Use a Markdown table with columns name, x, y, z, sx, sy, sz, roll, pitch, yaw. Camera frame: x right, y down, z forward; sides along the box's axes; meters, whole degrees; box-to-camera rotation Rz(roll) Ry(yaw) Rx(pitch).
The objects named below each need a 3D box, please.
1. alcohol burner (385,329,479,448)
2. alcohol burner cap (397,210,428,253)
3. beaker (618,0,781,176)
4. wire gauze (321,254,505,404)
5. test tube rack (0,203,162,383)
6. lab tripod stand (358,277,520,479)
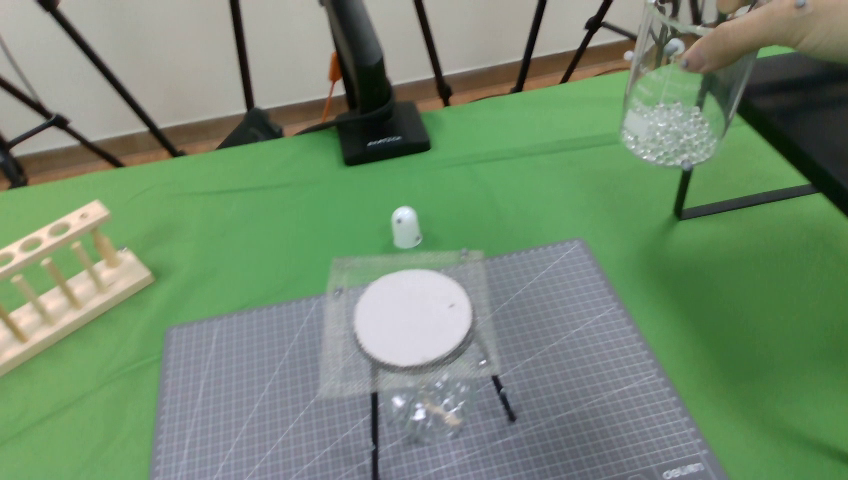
| name | x | y | z | sx | sy | sz | roll | pitch | yaw |
| --- | --- | --- | --- | --- | --- | --- | --- | --- | --- |
| alcohol burner | 0.005 | 0.114 | 0.485 | 0.078 | 0.120 | 0.077 | -5 | 42 | 5 |
| alcohol burner cap | -0.014 | -0.012 | 0.677 | 0.034 | 0.048 | 0.033 | -4 | 45 | 5 |
| beaker | 0.166 | -0.100 | 0.389 | 0.074 | 0.101 | 0.083 | -32 | 51 | -27 |
| wire gauze | -0.009 | 0.056 | 0.434 | 0.121 | 0.011 | 0.124 | -4 | 45 | 3 |
| test tube rack | -0.405 | 0.067 | 0.612 | 0.242 | 0.086 | 0.066 | -36 | 51 | -27 |
| lab tripod stand | 0.002 | 0.108 | 0.477 | 0.148 | 0.133 | 0.147 | -3 | 46 | 4 |
